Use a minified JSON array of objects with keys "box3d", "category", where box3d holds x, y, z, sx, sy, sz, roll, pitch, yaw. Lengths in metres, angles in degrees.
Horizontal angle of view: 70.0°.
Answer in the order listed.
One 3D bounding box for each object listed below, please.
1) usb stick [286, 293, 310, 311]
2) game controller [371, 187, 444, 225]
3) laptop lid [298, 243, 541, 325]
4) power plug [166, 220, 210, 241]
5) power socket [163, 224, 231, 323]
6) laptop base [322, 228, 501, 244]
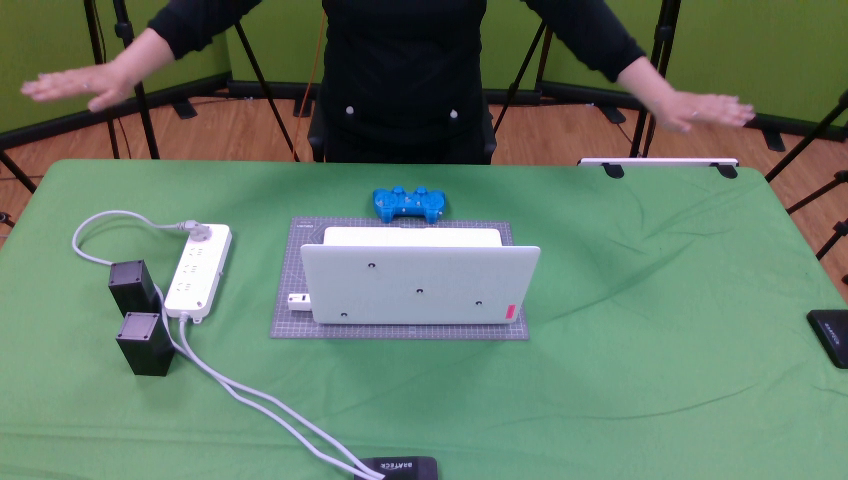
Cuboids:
[{"box3d":[-0.210,0.109,1.059,0.059,0.027,0.021,4,44,-6],"category":"usb stick"},{"box3d":[-0.033,-0.079,1.254,0.155,0.052,0.096,1,47,-3],"category":"game controller"},{"box3d":[-0.010,0.076,0.958,0.357,0.243,0.013,1,53,-5],"category":"laptop lid"},{"box3d":[-0.440,-0.016,1.144,0.072,0.053,0.035,8,46,9],"category":"power plug"},{"box3d":[-0.410,0.052,1.107,0.072,0.033,0.225,3,46,-3],"category":"power socket"},{"box3d":[-0.020,0.063,1.136,0.355,0.023,0.234,0,43,-4],"category":"laptop base"}]
